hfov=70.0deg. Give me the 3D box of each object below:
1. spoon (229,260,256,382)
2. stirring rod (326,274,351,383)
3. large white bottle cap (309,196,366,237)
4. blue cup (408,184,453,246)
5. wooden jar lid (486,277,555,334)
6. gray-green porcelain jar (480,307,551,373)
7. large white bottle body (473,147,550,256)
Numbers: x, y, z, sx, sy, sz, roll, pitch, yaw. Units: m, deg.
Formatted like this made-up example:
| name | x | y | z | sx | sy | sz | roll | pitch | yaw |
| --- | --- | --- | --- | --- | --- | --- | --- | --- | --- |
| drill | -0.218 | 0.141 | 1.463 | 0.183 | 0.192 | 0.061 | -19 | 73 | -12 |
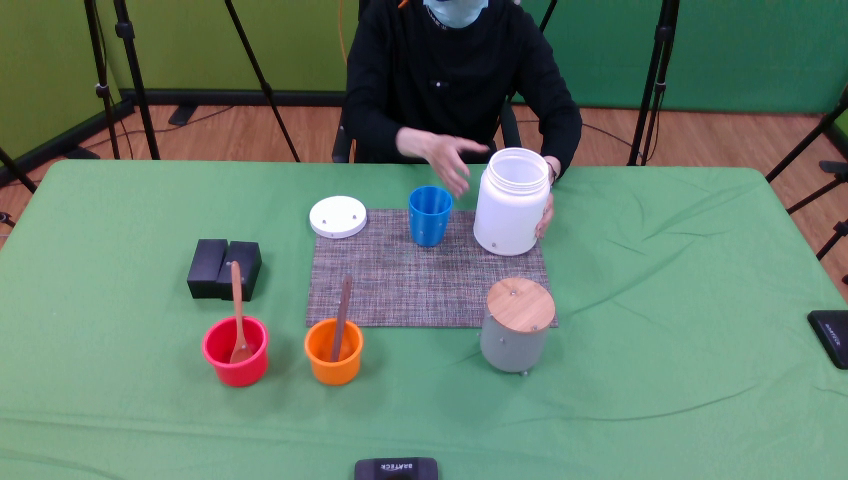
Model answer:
| name | x | y | z | sx | sy | sz | roll | pitch | yaw |
| --- | --- | --- | --- | --- | --- | --- | --- | --- | --- |
| spoon | -0.294 | 0.129 | 0.966 | 0.042 | 0.021 | 0.193 | -4 | 91 | -8 |
| stirring rod | -0.137 | 0.142 | 0.971 | 0.014 | 0.006 | 0.176 | 9 | 88 | 1 |
| large white bottle cap | -0.176 | -0.049 | 1.229 | 0.115 | 0.018 | 0.114 | 0 | 43 | 0 |
| blue cup | 0.008 | -0.043 | 1.177 | 0.093 | 0.101 | 0.092 | 3 | 47 | -3 |
| wooden jar lid | 0.150 | 0.105 | 0.948 | 0.108 | 0.021 | 0.107 | 3 | 47 | -3 |
| gray-green porcelain jar | 0.148 | 0.148 | 0.992 | 0.106 | 0.127 | 0.105 | 2 | 46 | -2 |
| large white bottle body | 0.168 | -0.074 | 1.161 | 0.131 | 0.185 | 0.130 | 2 | 47 | -2 |
